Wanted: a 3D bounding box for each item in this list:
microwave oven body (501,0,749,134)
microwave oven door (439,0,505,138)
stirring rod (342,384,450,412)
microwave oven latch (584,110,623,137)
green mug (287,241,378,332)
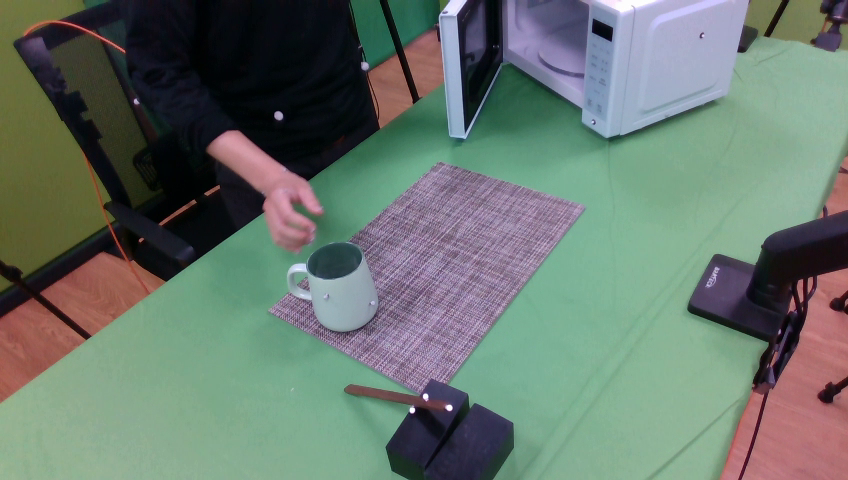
[{"bbox_3d":[0.382,-0.444,1.246,0.327,0.261,0.437,-22,42,-16],"label":"microwave oven body"},{"bbox_3d":[0.107,-0.406,1.231,0.039,0.245,0.355,7,43,18],"label":"microwave oven door"},{"bbox_3d":[-0.038,0.186,0.714,0.175,0.006,0.014,-3,22,43],"label":"stirring rod"},{"bbox_3d":[0.337,-0.222,1.142,0.030,0.029,0.078,-21,42,-14],"label":"microwave oven latch"},{"bbox_3d":[-0.131,0.065,0.843,0.125,0.105,0.092,3,42,12],"label":"green mug"}]
